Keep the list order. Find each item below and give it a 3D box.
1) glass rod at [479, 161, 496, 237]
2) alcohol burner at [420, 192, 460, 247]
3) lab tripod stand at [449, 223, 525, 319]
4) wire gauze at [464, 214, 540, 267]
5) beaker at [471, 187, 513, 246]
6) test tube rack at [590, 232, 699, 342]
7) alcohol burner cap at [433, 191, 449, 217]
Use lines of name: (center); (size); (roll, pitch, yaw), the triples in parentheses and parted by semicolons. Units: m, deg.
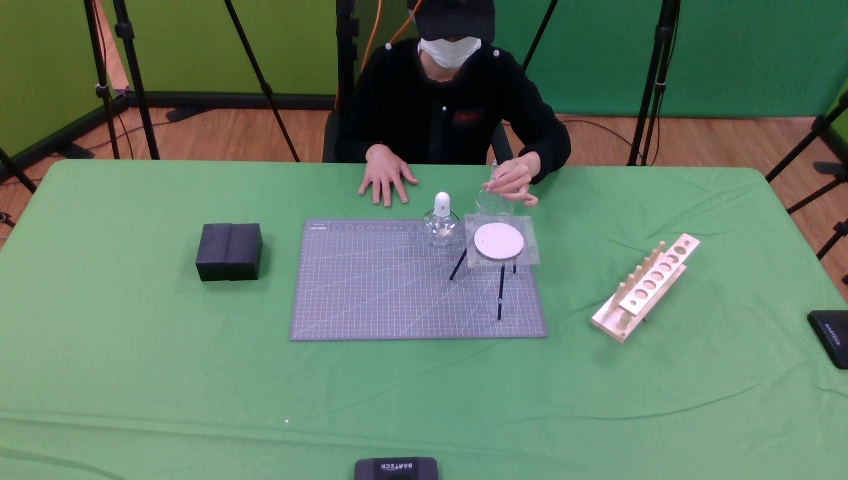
glass rod: (0.119, -0.072, 1.143); (0.008, 0.200, 0.008); (2, 49, -2)
alcohol burner: (0.032, -0.046, 1.176); (0.078, 0.120, 0.077); (2, 44, -1)
lab tripod stand: (0.120, 0.046, 1.080); (0.148, 0.132, 0.147); (1, 47, -1)
wire gauze: (0.131, -0.002, 1.034); (0.121, 0.011, 0.124); (1, 45, -2)
beaker: (0.134, -0.042, 1.190); (0.083, 0.101, 0.074); (34, 53, 25)
test tube rack: (0.407, 0.074, 1.112); (0.066, 0.085, 0.242); (35, 53, 26)
alcohol burner cap: (0.033, -0.070, 1.150); (0.034, 0.048, 0.033); (0, 45, 0)
